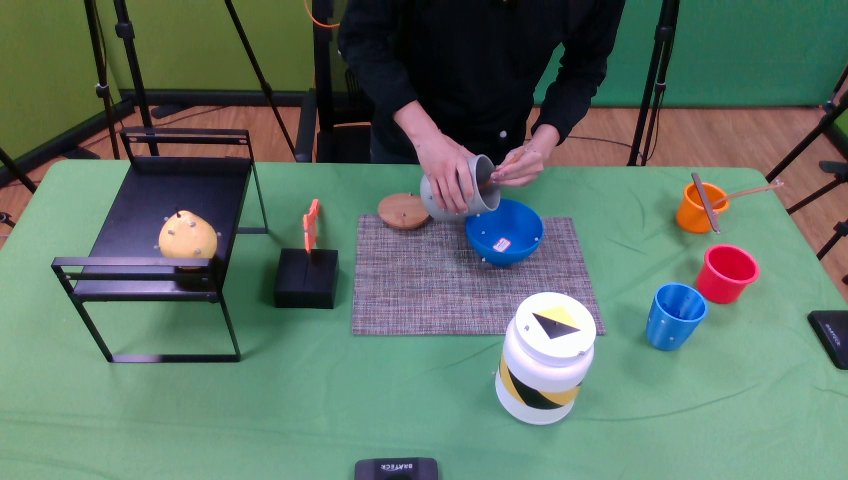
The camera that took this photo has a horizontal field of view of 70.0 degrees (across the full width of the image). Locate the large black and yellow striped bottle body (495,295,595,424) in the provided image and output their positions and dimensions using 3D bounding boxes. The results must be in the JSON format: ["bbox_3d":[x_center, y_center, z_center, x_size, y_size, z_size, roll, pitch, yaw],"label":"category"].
[{"bbox_3d":[0.183,0.182,0.923,0.131,0.185,0.130,2,46,-2],"label":"large black and yellow striped bottle body"}]

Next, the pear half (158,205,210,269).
[{"bbox_3d":[-0.352,-0.015,0.872,0.056,0.110,0.076,25,46,20],"label":"pear half"}]

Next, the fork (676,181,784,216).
[{"bbox_3d":[0.618,-0.084,1.235,0.207,0.019,0.028,-23,21,38],"label":"fork"}]

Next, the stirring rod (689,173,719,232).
[{"bbox_3d":[0.565,-0.079,1.225,0.014,0.006,0.175,2,45,2],"label":"stirring rod"}]

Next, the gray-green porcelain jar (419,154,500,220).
[{"bbox_3d":[0.063,-0.095,1.129,0.126,0.106,0.105,-10,38,31],"label":"gray-green porcelain jar"}]

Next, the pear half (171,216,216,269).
[{"bbox_3d":[-0.323,0.007,0.866,0.031,0.088,0.070,25,46,20],"label":"pear half"}]

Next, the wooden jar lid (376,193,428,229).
[{"bbox_3d":[-0.044,-0.059,1.246,0.108,0.021,0.107,3,40,-3],"label":"wooden jar lid"}]

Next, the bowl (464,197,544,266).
[{"bbox_3d":[0.149,-0.004,1.167,0.151,0.077,0.150,2,46,-2],"label":"bowl"}]

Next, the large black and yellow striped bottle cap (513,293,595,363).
[{"bbox_3d":[0.186,0.123,0.863,0.115,0.019,0.114,3,45,-3],"label":"large black and yellow striped bottle cap"}]

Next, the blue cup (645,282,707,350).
[{"bbox_3d":[0.425,0.136,1.042,0.093,0.101,0.092,1,44,-1],"label":"blue cup"}]

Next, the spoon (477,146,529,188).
[{"bbox_3d":[0.119,-0.114,1.111,0.021,0.194,0.041,56,33,-3],"label":"spoon"}]

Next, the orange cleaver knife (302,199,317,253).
[{"bbox_3d":[-0.219,-0.031,1.168,0.012,0.077,0.210,-4,17,-3],"label":"orange cleaver knife"}]
